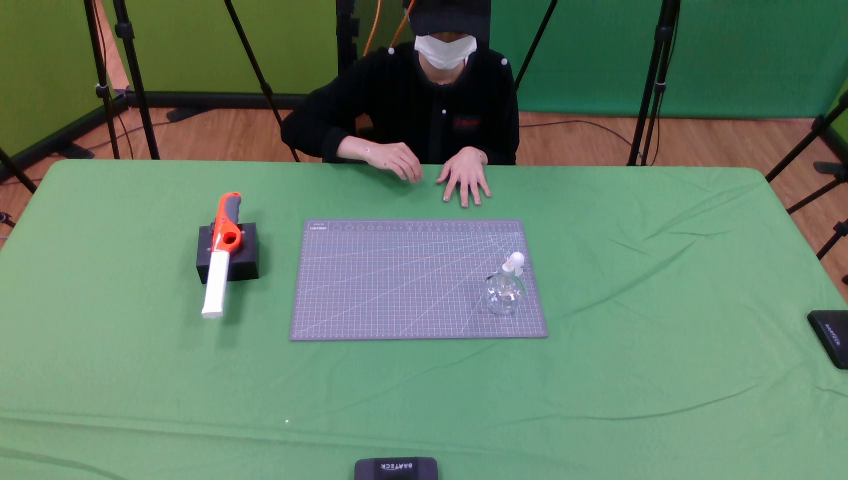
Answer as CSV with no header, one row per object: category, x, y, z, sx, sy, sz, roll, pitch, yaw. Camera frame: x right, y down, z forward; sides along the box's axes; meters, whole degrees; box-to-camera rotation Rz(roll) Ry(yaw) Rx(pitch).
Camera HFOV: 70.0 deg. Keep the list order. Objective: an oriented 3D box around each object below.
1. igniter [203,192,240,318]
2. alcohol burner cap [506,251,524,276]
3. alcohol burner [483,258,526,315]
igniter,-0.361,0.017,1.084,0.057,0.025,0.274,-3,51,-6
alcohol burner cap,0.175,0.043,1.151,0.034,0.048,0.033,2,46,-1
alcohol burner,0.143,0.076,1.067,0.078,0.120,0.077,1,45,-1
